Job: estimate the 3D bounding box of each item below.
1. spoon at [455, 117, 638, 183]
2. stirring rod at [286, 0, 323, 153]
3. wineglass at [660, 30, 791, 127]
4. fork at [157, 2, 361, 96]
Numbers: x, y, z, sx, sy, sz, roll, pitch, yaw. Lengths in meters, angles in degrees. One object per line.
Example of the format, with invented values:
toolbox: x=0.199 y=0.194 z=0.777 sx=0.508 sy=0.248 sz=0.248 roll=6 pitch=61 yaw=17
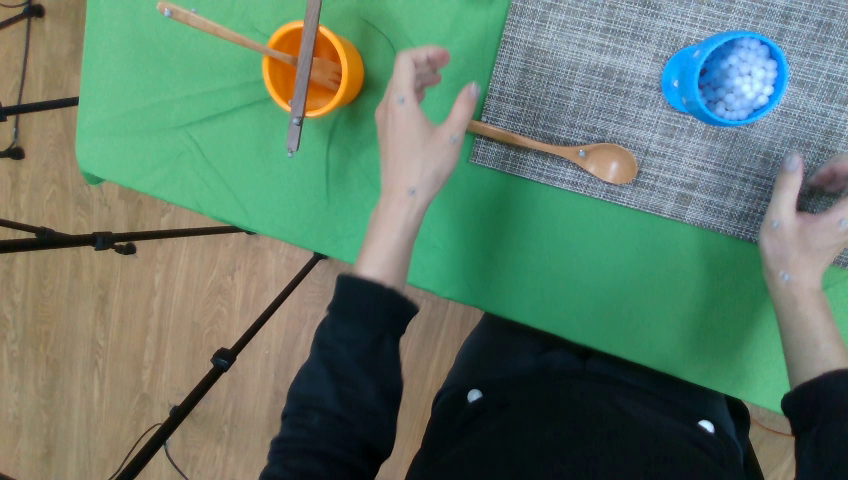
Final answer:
spoon: x=0.123 y=-0.098 z=0.624 sx=0.193 sy=0.021 sz=0.042 roll=16 pitch=128 yaw=8
stirring rod: x=-0.116 y=-0.171 z=0.593 sx=0.014 sy=0.006 sz=0.177 roll=17 pitch=108 yaw=10
wineglass: x=0.243 y=-0.134 z=0.506 sx=0.073 sy=0.172 sz=0.074 roll=3 pitch=105 yaw=13
fork: x=-0.155 y=-0.187 z=0.600 sx=0.209 sy=0.018 sz=0.028 roll=13 pitch=121 yaw=-37
